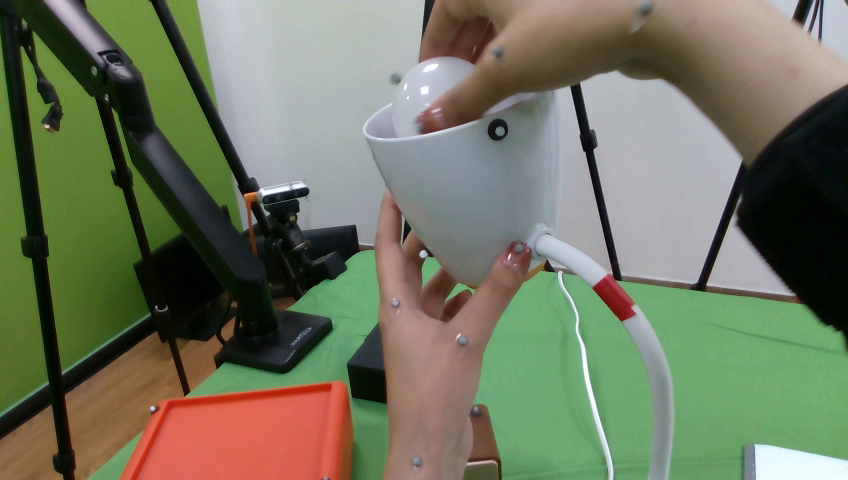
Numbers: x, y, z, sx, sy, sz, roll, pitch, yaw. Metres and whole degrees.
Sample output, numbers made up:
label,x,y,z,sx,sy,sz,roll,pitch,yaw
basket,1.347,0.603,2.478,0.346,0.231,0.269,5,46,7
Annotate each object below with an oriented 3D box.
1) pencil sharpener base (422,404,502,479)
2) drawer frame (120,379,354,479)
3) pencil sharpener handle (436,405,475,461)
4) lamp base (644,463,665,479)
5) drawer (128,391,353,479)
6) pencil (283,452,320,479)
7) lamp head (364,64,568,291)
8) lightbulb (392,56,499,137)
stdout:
label,x,y,z,sx,sy,sz,roll,pitch,yaw
pencil sharpener base,0.034,0.209,0.538,0.061,0.108,0.076,-6,25,-1
drawer frame,-0.171,0.232,0.553,0.202,0.083,0.212,-7,24,-2
pencil sharpener handle,0.028,0.177,0.579,0.036,0.068,0.030,-1,25,-4
lamp base,0.147,0.240,0.358,0.161,0.181,0.178,-8,21,-5
drawer,-0.169,0.234,0.551,0.194,0.074,0.210,-6,24,-1
pencil,-0.166,0.251,0.524,0.194,0.012,0.012,-37,38,-30
lamp head,0.037,-0.030,0.359,0.112,0.124,0.111,-19,21,8
lightbulb,0.022,-0.053,0.349,0.059,0.108,0.059,-21,30,13
